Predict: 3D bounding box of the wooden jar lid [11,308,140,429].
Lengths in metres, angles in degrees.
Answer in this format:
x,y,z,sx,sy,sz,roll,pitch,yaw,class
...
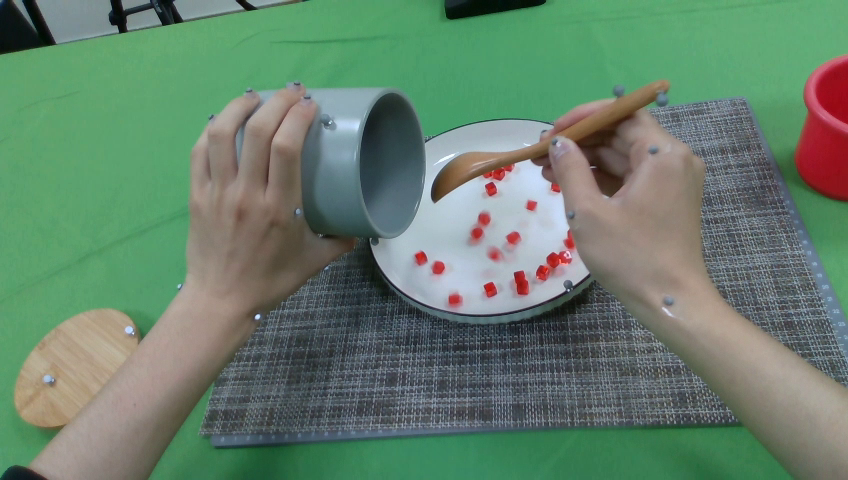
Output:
x,y,z,sx,sy,sz,roll,pitch,yaw,class
-0.286,0.107,0.505,0.108,0.021,0.107,-6,51,8,wooden jar lid

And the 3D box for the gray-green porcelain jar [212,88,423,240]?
x,y,z,sx,sy,sz,roll,pitch,yaw,class
-0.079,-0.057,0.445,0.126,0.107,0.105,5,54,23,gray-green porcelain jar

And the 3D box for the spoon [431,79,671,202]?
x,y,z,sx,sy,sz,roll,pitch,yaw,class
0.068,-0.060,0.387,0.193,0.022,0.041,-15,36,46,spoon

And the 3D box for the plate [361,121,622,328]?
x,y,z,sx,sy,sz,roll,pitch,yaw,class
0.053,-0.015,0.496,0.207,0.039,0.205,-7,51,9,plate
